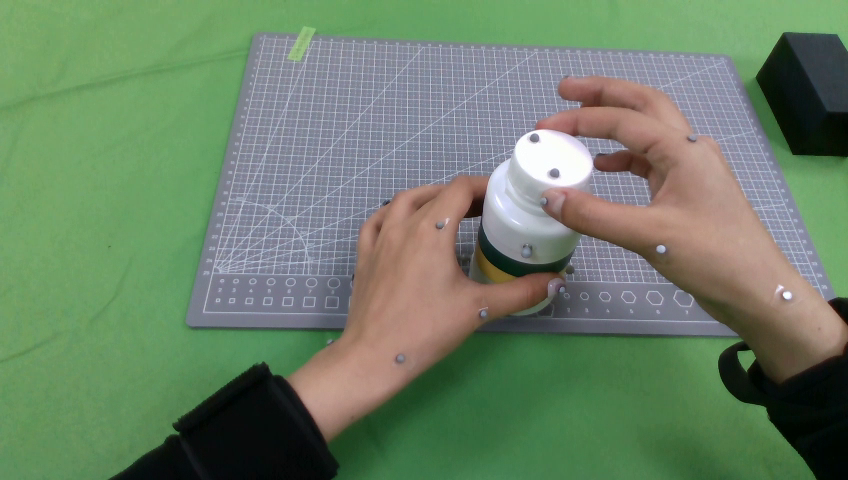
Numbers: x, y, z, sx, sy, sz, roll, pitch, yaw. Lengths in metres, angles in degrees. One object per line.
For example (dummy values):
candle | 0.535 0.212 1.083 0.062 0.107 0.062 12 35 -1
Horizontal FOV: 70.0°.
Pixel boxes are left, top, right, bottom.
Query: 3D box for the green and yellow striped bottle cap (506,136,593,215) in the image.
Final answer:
green and yellow striped bottle cap | 0.069 -0.036 0.331 0.045 0.020 0.045 4 52 -5

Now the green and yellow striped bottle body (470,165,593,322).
green and yellow striped bottle body | 0.065 -0.003 0.377 0.063 0.120 0.062 1 55 -2
